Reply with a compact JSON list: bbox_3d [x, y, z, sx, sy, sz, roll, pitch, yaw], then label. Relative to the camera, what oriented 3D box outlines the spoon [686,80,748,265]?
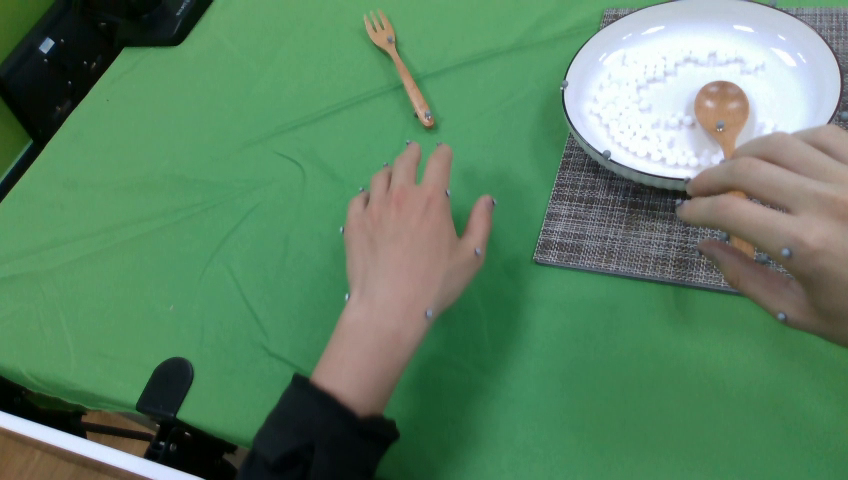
[{"bbox_3d":[0.215,-0.057,0.437,0.041,0.022,0.192,5,45,15],"label":"spoon"}]

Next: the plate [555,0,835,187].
[{"bbox_3d":[0.215,-0.123,0.501,0.207,0.039,0.205,-8,55,12],"label":"plate"}]

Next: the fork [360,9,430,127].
[{"bbox_3d":[-0.032,-0.185,0.638,0.028,0.019,0.205,-20,51,-4],"label":"fork"}]
